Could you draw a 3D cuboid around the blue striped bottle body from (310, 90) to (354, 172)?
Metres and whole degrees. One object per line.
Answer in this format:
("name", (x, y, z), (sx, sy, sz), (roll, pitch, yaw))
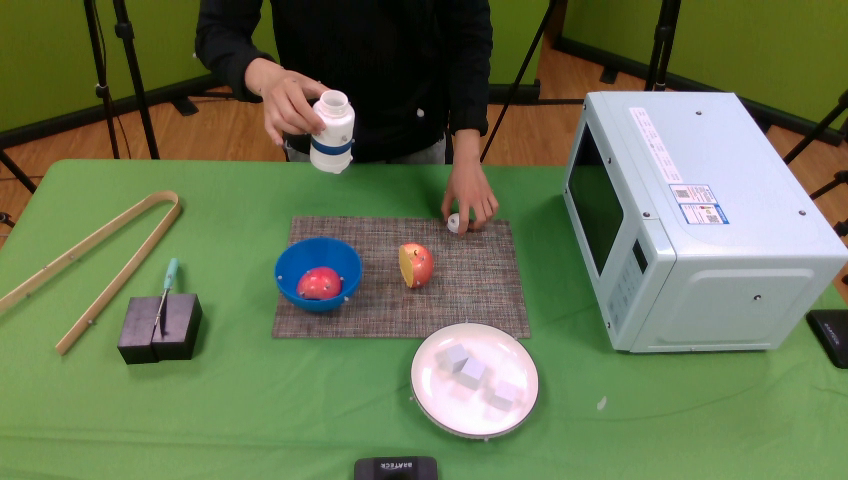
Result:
("blue striped bottle body", (-0.140, -0.166, 0.914), (0.063, 0.121, 0.062), (6, 50, -7))

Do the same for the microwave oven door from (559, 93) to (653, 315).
("microwave oven door", (0.327, -0.074, 1.123), (0.039, 0.245, 0.353), (-1, 46, -5))

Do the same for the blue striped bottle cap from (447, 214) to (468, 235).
("blue striped bottle cap", (0.069, -0.033, 1.239), (0.044, 0.021, 0.044), (0, 45, 0))

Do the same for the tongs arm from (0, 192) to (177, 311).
("tongs arm", (-0.618, 0.020, 1.124), (0.050, 0.026, 0.384), (24, 47, 16))

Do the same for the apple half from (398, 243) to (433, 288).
("apple half", (-0.012, 0.046, 1.115), (0.053, 0.075, 0.080), (-11, 44, -19))

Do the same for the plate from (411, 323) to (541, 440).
("plate", (0.082, 0.228, 0.976), (0.208, 0.039, 0.206), (2, 45, -2))

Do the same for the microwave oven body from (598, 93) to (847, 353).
("microwave oven body", (0.475, -0.041, 1.109), (0.326, 0.261, 0.438), (-1, 45, -4))

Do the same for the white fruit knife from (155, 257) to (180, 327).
("white fruit knife", (-0.440, 0.085, 1.037), (0.016, 0.027, 0.206), (10, 26, -19))

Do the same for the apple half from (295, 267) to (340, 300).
("apple half", (-0.187, 0.070, 1.067), (0.081, 0.033, 0.081), (3, 47, -3))

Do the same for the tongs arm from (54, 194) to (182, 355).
("tongs arm", (-0.543, 0.049, 1.108), (0.028, 0.028, 0.385), (11, 46, 10))

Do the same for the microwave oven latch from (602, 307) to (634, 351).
("microwave oven latch", (0.332, 0.153, 1.044), (0.030, 0.029, 0.078), (-1, 45, -4))

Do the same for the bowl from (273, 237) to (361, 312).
("bowl", (-0.186, 0.074, 1.069), (0.151, 0.077, 0.150), (3, 46, -3))
